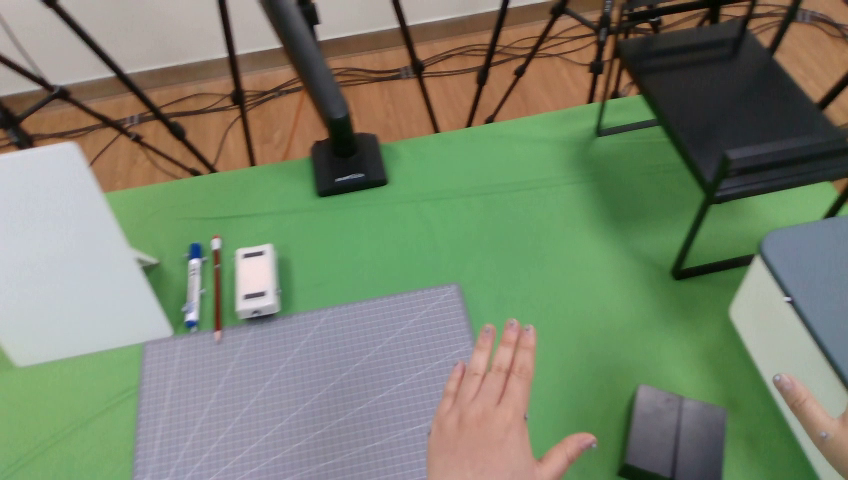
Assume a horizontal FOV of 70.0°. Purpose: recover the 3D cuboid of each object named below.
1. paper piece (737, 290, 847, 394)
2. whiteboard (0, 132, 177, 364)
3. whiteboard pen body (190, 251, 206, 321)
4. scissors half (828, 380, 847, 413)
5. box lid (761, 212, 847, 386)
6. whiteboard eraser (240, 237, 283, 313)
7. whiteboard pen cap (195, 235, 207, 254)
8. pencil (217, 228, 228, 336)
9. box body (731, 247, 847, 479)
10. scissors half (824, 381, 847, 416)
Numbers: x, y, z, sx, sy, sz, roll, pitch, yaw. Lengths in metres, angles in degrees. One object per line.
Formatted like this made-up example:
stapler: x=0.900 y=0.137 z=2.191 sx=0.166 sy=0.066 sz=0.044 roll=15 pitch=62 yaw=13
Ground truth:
paper piece: x=0.491 y=0.133 z=0.798 sx=0.136 sy=0.009 sz=0.137 roll=1 pitch=67 yaw=-4
whiteboard: x=-0.477 y=-0.011 z=0.809 sx=0.217 sy=0.308 sz=0.142 roll=-10 pitch=35 yaw=-3
whiteboard pen body: x=-0.332 y=0.056 z=0.891 sx=0.017 sy=0.017 sz=0.139 roll=-10 pitch=54 yaw=-3
scissors half: x=0.515 y=0.239 z=0.701 sx=0.040 sy=0.013 sz=0.173 roll=-5 pitch=47 yaw=2
box lid: x=0.545 y=0.108 z=0.614 sx=0.263 sy=0.015 sz=0.367 roll=-10 pitch=54 yaw=-4
whiteboard eraser: x=-0.235 y=0.051 z=0.874 sx=0.055 sy=0.042 sz=0.111 roll=-12 pitch=55 yaw=-3
whiteboard pen cap: x=-0.340 y=0.010 z=0.924 sx=0.018 sy=0.018 sz=0.033 roll=-11 pitch=53 yaw=-4
pencil: x=-0.295 y=0.058 z=0.891 sx=0.012 sy=0.012 sz=0.192 roll=-13 pitch=54 yaw=-5
box body: x=0.550 y=0.153 z=0.673 sx=0.254 sy=0.162 sz=0.360 roll=-11 pitch=54 yaw=-4
scissors half: x=0.535 y=0.235 z=0.704 sx=0.040 sy=0.013 sz=0.173 roll=-18 pitch=49 yaw=-17
